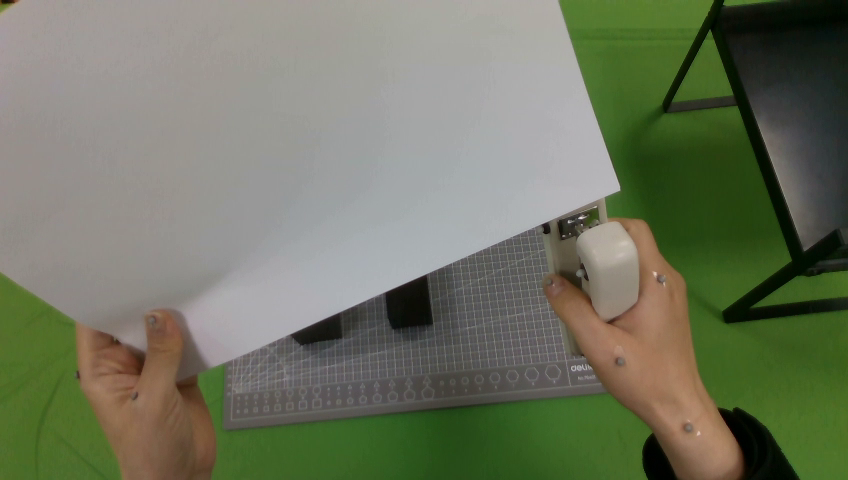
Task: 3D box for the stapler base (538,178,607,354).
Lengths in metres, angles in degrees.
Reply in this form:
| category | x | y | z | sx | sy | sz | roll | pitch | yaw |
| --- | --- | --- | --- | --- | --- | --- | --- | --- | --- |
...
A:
| category | x | y | z | sx | sy | sz | roll | pitch | yaw |
| --- | --- | --- | --- | --- | --- | --- | --- | --- | --- |
| stapler base | 0.102 | 0.024 | 0.378 | 0.041 | 0.132 | 0.024 | -19 | 34 | -2 |

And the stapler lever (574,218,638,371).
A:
| category | x | y | z | sx | sy | sz | roll | pitch | yaw |
| --- | --- | --- | --- | --- | --- | --- | --- | --- | --- |
| stapler lever | 0.109 | 0.038 | 0.358 | 0.027 | 0.119 | 0.039 | -19 | 35 | -2 |
